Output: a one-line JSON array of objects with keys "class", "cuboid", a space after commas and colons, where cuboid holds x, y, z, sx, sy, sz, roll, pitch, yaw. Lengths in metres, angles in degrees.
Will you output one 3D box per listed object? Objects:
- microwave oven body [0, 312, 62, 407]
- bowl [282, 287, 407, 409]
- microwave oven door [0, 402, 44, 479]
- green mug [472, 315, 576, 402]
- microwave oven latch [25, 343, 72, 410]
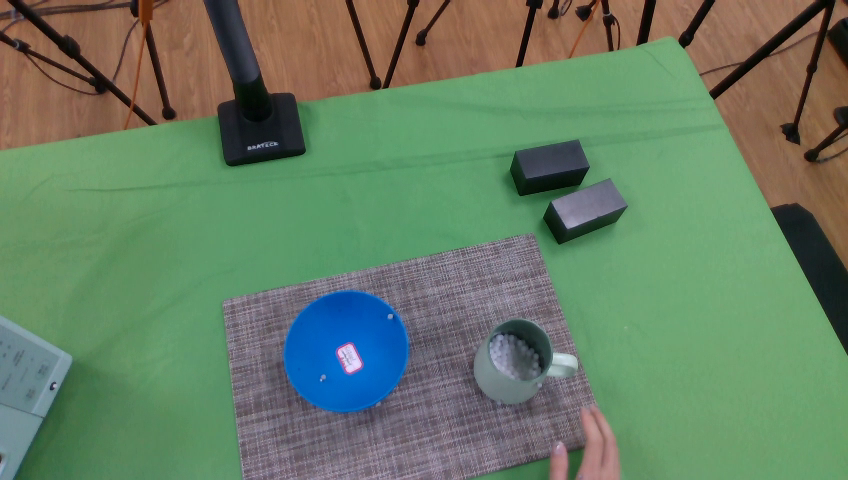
[{"class": "microwave oven body", "cuboid": [-0.643, 0.241, 0.582, 0.326, 0.262, 0.439, 14, 66, 3]}, {"class": "bowl", "cuboid": [-0.096, 0.143, 0.760, 0.151, 0.077, 0.150, 1, 65, -2]}, {"class": "microwave oven door", "cuboid": [-0.511, 0.310, 0.552, 0.039, 0.245, 0.353, 13, 65, 4]}, {"class": "green mug", "cuboid": [0.126, 0.149, 0.755, 0.125, 0.105, 0.092, 5, 64, 0]}, {"class": "microwave oven latch", "cuboid": [-0.461, 0.164, 0.736, 0.030, 0.030, 0.078, 16, 66, 4]}]
